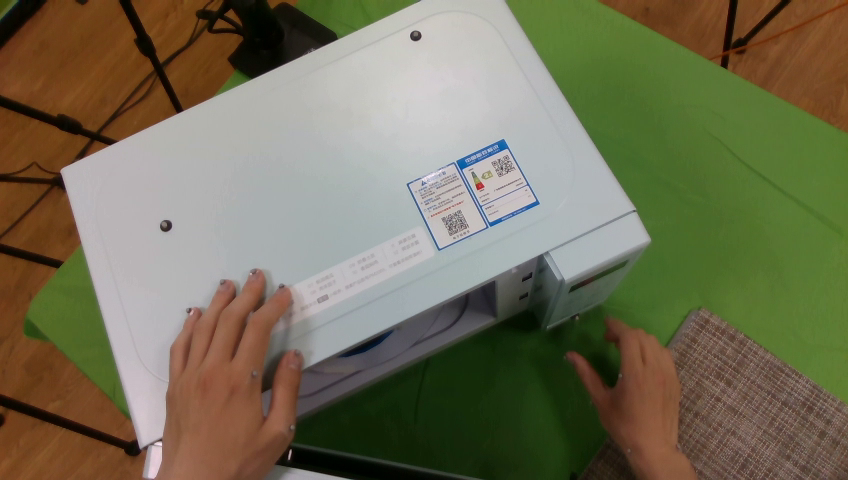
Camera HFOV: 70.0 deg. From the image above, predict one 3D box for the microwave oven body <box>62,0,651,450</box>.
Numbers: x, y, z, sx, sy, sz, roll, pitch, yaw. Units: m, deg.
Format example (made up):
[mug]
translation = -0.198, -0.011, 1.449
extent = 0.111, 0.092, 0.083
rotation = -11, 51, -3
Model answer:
[microwave oven body]
translation = -0.065, -0.009, 0.634
extent = 0.442, 0.262, 0.323
rotation = -26, 72, -1

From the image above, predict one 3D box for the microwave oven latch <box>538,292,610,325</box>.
[microwave oven latch]
translation = 0.169, 0.067, 0.685
extent = 0.079, 0.030, 0.030
rotation = -24, 72, 0

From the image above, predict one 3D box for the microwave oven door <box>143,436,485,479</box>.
[microwave oven door]
translation = -0.030, 0.228, 0.551
extent = 0.355, 0.245, 0.039
rotation = 7, 73, 9
